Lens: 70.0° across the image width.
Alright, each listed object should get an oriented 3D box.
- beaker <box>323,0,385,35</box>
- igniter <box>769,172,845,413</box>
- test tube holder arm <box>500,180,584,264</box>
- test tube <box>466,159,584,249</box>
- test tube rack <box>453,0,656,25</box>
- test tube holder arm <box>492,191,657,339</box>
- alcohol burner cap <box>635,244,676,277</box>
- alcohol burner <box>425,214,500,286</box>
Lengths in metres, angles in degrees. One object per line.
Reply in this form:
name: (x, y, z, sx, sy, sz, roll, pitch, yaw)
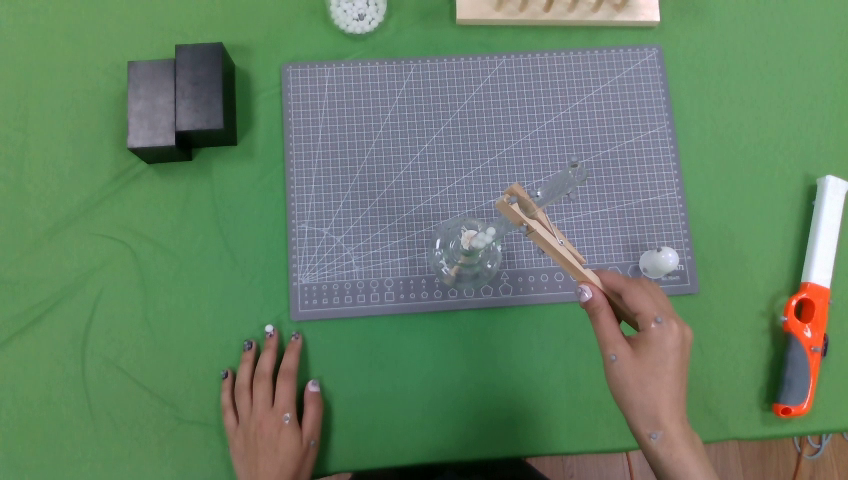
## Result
beaker: (-0.080, -0.281, 0.675, 0.074, 0.100, 0.083, -1, 80, -2)
igniter: (0.424, 0.057, 0.667, 0.057, 0.025, 0.275, 18, 80, -8)
test tube holder arm: (0.094, -0.011, 0.480, 0.088, 0.015, 0.010, 48, 57, -8)
test tube: (0.073, -0.023, 0.477, 0.017, 0.150, 0.017, 10, 65, -23)
test tube rack: (0.157, -0.301, 0.694, 0.242, 0.085, 0.066, 0, 80, -2)
test tube holder arm: (0.123, 0.023, 0.485, 0.179, 0.015, 0.013, 42, 59, -12)
alcohol burner cap: (0.254, 0.021, 0.658, 0.034, 0.048, 0.033, 0, 78, -2)
alcohol burner: (0.041, 0.007, 0.617, 0.078, 0.119, 0.077, 1, 78, -3)
